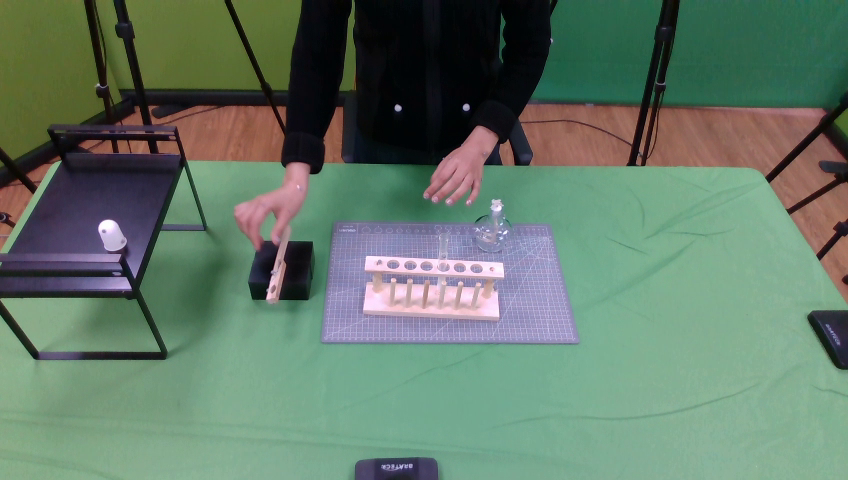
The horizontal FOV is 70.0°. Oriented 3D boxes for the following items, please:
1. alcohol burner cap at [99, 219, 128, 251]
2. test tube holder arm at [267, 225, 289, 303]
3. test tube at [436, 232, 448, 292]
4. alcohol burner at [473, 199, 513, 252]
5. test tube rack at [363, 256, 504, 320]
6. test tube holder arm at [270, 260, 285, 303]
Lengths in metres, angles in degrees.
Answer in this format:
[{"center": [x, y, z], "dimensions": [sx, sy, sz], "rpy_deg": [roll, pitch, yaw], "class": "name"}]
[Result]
[{"center": [-0.467, -0.010, 0.907], "dimensions": [0.034, 0.048, 0.033], "rpy_deg": [2, 47, -2], "class": "alcohol burner cap"}, {"center": [-0.259, 0.039, 1.077], "dimensions": [0.013, 0.015, 0.177], "rpy_deg": [-5, 46, 2], "class": "test tube holder arm"}, {"center": [0.030, 0.042, 1.042], "dimensions": [0.017, 0.151, 0.017], "rpy_deg": [1, 48, -1], "class": "test tube"}, {"center": [0.135, -0.034, 1.174], "dimensions": [0.078, 0.120, 0.077], "rpy_deg": [1, 47, -1], "class": "alcohol burner"}, {"center": [0.015, 0.085, 1.069], "dimensions": [0.242, 0.085, 0.066], "rpy_deg": [3, 45, -2], "class": "test tube rack"}, {"center": [-0.252, 0.071, 1.045], "dimensions": [0.010, 0.015, 0.087], "rpy_deg": [-5, 46, 3], "class": "test tube holder arm"}]
